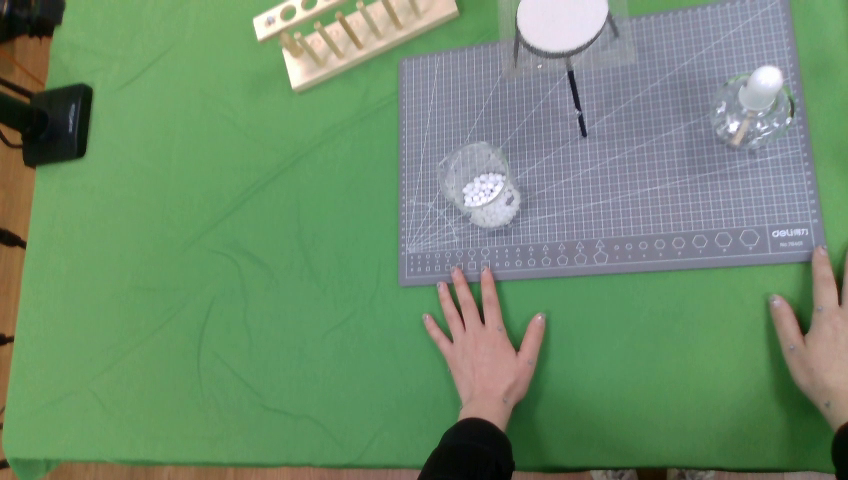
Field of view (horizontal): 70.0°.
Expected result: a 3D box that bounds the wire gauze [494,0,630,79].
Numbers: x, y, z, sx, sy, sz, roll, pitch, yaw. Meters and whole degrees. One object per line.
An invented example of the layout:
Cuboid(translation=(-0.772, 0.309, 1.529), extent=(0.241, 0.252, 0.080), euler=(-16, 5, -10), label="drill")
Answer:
Cuboid(translation=(0.130, -0.220, 0.590), extent=(0.125, 0.011, 0.121), euler=(-5, 78, 17), label="wire gauze")

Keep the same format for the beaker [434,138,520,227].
Cuboid(translation=(0.062, -0.059, 0.668), extent=(0.083, 0.101, 0.074), euler=(16, 82, 22), label="beaker")

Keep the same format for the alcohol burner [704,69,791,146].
Cuboid(translation=(0.320, -0.138, 0.593), extent=(0.077, 0.120, 0.077), euler=(-4, 77, 16), label="alcohol burner")

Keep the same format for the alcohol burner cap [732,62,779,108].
Cuboid(translation=(0.308, -0.146, 0.560), extent=(0.034, 0.048, 0.033), euler=(-2, 80, 14), label="alcohol burner cap")

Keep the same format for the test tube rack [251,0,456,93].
Cuboid(translation=(-0.090, -0.283, 0.777), extent=(0.242, 0.086, 0.066), euler=(-22, 72, 12), label="test tube rack")

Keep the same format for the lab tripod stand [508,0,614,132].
Cuboid(translation=(0.150, -0.205, 0.653), extent=(0.148, 0.132, 0.147), euler=(-3, 78, 16), label="lab tripod stand")
